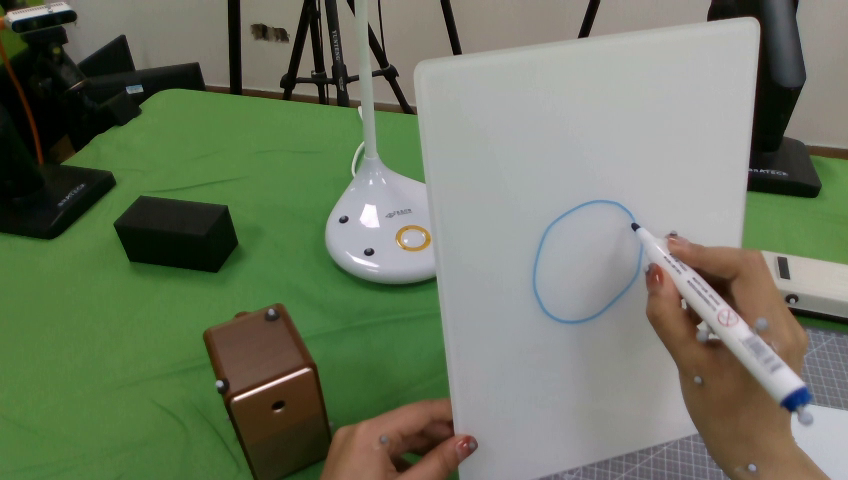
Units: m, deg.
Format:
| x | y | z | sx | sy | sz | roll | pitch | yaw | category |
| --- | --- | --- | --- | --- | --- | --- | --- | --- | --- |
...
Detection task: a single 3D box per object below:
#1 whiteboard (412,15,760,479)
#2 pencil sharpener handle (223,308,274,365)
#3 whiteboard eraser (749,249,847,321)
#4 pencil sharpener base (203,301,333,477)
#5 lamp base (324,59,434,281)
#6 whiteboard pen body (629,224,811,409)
| x | y | z | sx | sy | sz | roll | pitch | yaw | category |
| --- | --- | --- | --- | --- | --- | --- | --- | --- | --- |
| 0.100 | 0.004 | 0.457 | 0.217 | 0.307 | 0.142 | -11 | 22 | -10 | whiteboard |
| -0.137 | 0.071 | 0.475 | 0.036 | 0.068 | 0.030 | -27 | 45 | -15 | pencil sharpener handle |
| 0.366 | 0.045 | 0.564 | 0.112 | 0.042 | 0.055 | 10 | 39 | 14 | whiteboard eraser |
| -0.114 | 0.109 | 0.448 | 0.061 | 0.108 | 0.076 | -21 | 43 | -21 | pencil sharpener base |
| -0.036 | -0.078 | 0.613 | 0.161 | 0.182 | 0.177 | -24 | 42 | -24 | lamp base |
| 0.154 | 0.034 | 0.334 | 0.017 | 0.017 | 0.139 | -14 | 44 | -15 | whiteboard pen body |
